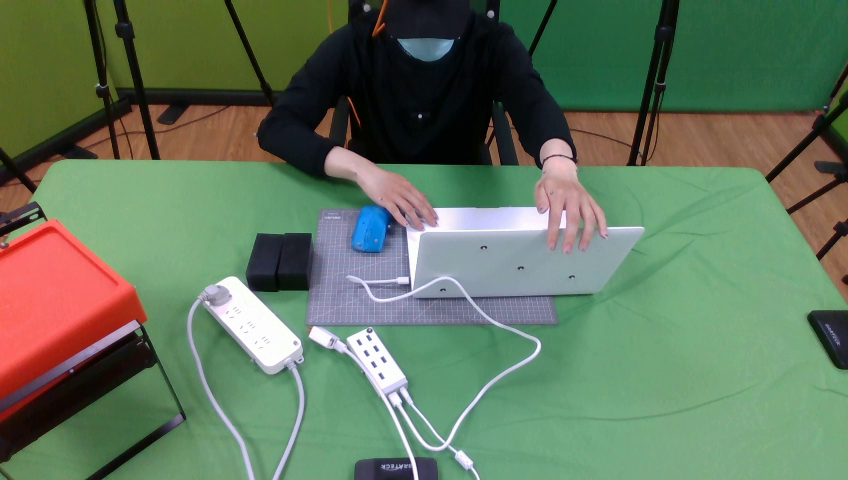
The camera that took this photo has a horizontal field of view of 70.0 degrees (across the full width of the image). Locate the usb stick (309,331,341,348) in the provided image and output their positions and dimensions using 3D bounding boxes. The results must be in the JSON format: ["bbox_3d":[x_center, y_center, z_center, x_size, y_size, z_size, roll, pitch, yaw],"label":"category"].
[{"bbox_3d":[-0.172,0.166,1.022,0.059,0.027,0.021,8,84,26],"label":"usb stick"}]

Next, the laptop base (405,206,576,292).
[{"bbox_3d":[0.143,0.018,1.196,0.355,0.023,0.234,-1,43,-6],"label":"laptop base"}]

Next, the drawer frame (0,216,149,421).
[{"bbox_3d":[-0.510,0.093,0.780,0.201,0.083,0.213,31,52,23],"label":"drawer frame"}]

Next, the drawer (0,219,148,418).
[{"bbox_3d":[-0.509,0.093,0.783,0.193,0.073,0.211,32,53,24],"label":"drawer"}]

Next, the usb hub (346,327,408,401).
[{"bbox_3d":[-0.078,0.202,0.998,0.049,0.025,0.124,-23,53,-24],"label":"usb hub"}]

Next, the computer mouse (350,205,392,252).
[{"bbox_3d":[-0.104,-0.027,1.203,0.063,0.041,0.116,11,50,3],"label":"computer mouse"}]

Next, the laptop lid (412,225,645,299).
[{"bbox_3d":[0.161,0.042,1.012,0.357,0.242,0.013,0,59,-7],"label":"laptop lid"}]

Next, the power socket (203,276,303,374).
[{"bbox_3d":[-0.296,0.141,1.034,0.072,0.033,0.225,-35,58,-30],"label":"power socket"}]

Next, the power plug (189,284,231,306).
[{"bbox_3d":[-0.368,0.100,1.037,0.072,0.053,0.035,-24,54,-26],"label":"power plug"}]
